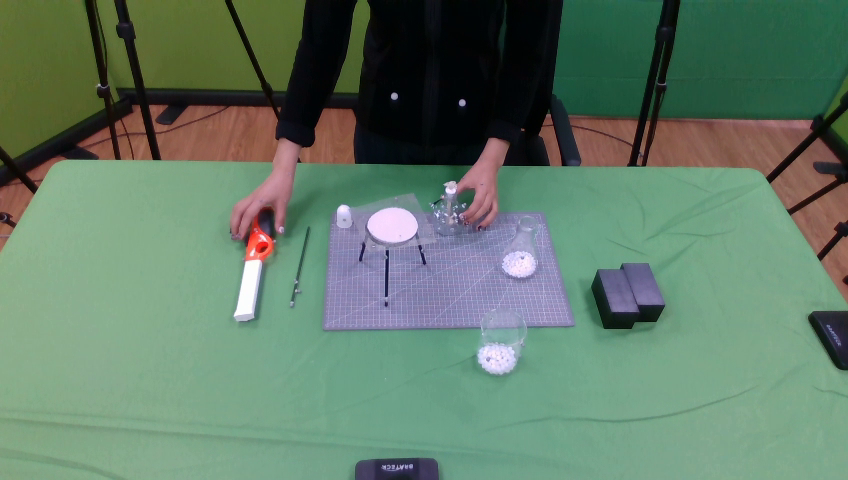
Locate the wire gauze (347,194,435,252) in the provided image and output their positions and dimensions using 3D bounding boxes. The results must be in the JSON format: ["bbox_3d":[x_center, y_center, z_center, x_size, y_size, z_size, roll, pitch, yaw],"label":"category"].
[{"bbox_3d":[-0.058,-0.029,1.048,0.125,0.011,0.120,-12,48,-16],"label":"wire gauze"}]

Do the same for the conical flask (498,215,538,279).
[{"bbox_3d":[0.183,0.010,1.132,0.075,0.122,0.075,2,46,-2],"label":"conical flask"}]

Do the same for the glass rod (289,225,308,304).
[{"bbox_3d":[-0.236,0.042,1.149,0.008,0.008,0.198,3,46,-1],"label":"glass rod"}]

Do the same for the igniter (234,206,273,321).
[{"bbox_3d":[-0.318,0.035,1.137,0.057,0.025,0.274,-8,46,3],"label":"igniter"}]

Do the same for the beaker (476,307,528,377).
[{"bbox_3d":[0.122,0.171,0.991,0.084,0.101,0.073,-34,56,-31],"label":"beaker"}]

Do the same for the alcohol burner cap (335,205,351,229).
[{"bbox_3d":[-0.164,-0.049,1.216,0.034,0.048,0.033,1,46,-1],"label":"alcohol burner cap"}]

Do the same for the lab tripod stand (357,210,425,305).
[{"bbox_3d":[-0.060,0.020,1.094,0.148,0.132,0.147,3,44,-2],"label":"lab tripod stand"}]

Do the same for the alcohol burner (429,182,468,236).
[{"bbox_3d":[0.049,-0.067,1.201,0.078,0.120,0.077,1,46,-1],"label":"alcohol burner"}]
